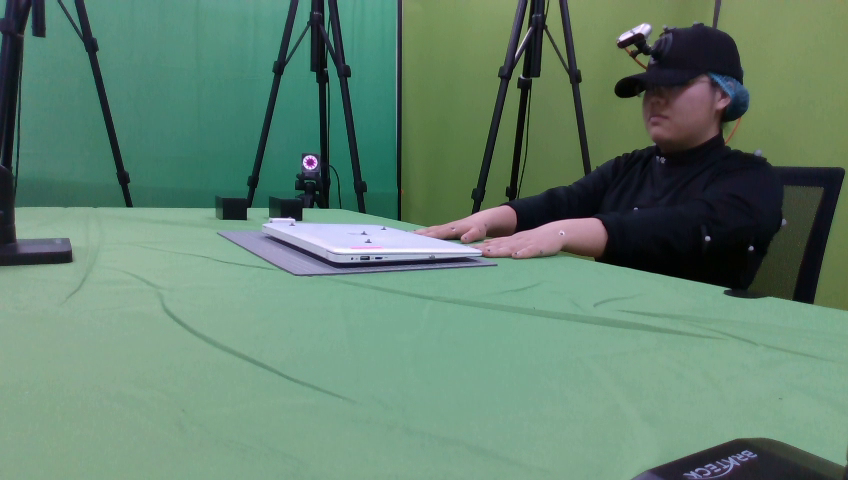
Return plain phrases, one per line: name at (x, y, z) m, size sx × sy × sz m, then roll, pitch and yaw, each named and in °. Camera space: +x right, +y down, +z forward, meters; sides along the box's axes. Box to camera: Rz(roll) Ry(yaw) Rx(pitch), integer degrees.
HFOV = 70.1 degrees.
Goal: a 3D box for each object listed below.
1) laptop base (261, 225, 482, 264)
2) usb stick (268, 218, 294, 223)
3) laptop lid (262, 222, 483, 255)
laptop base at (-0.100, 0.006, 0.965) m, size 0.237 × 0.023 × 0.352 m, roll 2°, pitch 6°, yaw -31°
usb stick at (-0.272, -0.027, 1.119) m, size 0.059 × 0.027 × 0.021 m, roll -6°, pitch 11°, yaw -35°
laptop lid at (-0.097, -0.005, 0.965) m, size 0.243 × 0.013 × 0.355 m, roll 1°, pitch 7°, yaw -29°
